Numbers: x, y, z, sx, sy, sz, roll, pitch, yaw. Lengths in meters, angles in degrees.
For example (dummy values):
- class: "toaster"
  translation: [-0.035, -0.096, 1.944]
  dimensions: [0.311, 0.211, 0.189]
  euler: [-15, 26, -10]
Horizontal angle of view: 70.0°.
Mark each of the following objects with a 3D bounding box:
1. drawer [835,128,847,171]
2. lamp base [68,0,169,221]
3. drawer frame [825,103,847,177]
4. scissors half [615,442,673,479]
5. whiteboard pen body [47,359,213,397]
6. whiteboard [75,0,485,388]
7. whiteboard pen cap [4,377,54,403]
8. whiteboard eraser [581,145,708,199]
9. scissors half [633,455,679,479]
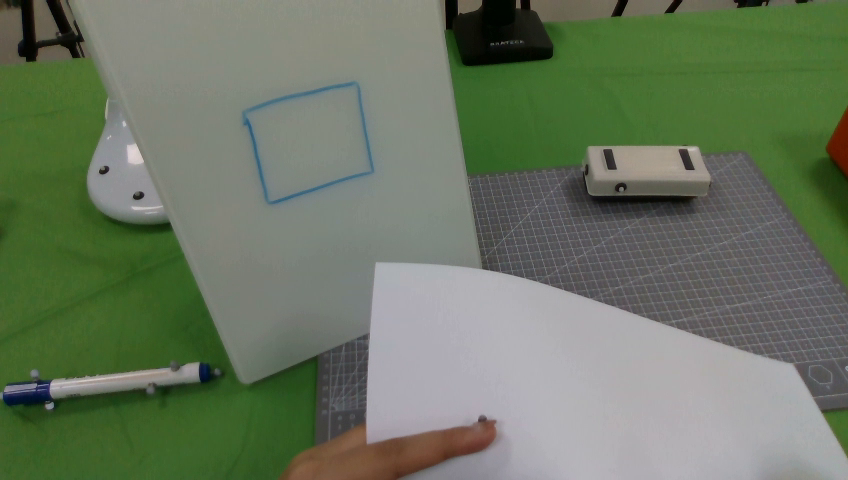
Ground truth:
- class: "drawer"
  translation: [0.523, -0.044, 0.542]
  dimensions: [0.194, 0.074, 0.209]
  euler: [-4, 46, 0]
- class: "lamp base"
  translation: [-0.280, -0.136, 0.586]
  dimensions: [0.178, 0.182, 0.160]
  euler: [25, 52, 27]
- class: "drawer frame"
  translation: [0.522, -0.050, 0.546]
  dimensions: [0.202, 0.083, 0.211]
  euler: [-5, 46, -1]
- class: "scissors half"
  translation: [0.156, 0.132, 0.247]
  dimensions: [0.174, 0.040, 0.013]
  euler: [31, 89, 9]
- class: "whiteboard pen body"
  translation: [-0.235, 0.107, 0.463]
  dimensions: [0.141, 0.017, 0.017]
  euler: [-6, 46, -8]
- class: "whiteboard"
  translation: [-0.097, -0.080, 0.480]
  dimensions: [0.217, 0.308, 0.142]
  euler: [-21, 30, -16]
- class: "whiteboard pen cap"
  translation: [-0.294, 0.112, 0.455]
  dimensions: [0.033, 0.018, 0.018]
  euler: [-4, 46, -10]
- class: "whiteboard eraser"
  translation: [0.214, -0.066, 0.596]
  dimensions: [0.112, 0.042, 0.055]
  euler: [0, 45, 2]
- class: "scissors half"
  translation: [0.154, 0.132, 0.270]
  dimensions: [0.013, 0.176, 0.040]
  euler: [-59, 21, -6]
